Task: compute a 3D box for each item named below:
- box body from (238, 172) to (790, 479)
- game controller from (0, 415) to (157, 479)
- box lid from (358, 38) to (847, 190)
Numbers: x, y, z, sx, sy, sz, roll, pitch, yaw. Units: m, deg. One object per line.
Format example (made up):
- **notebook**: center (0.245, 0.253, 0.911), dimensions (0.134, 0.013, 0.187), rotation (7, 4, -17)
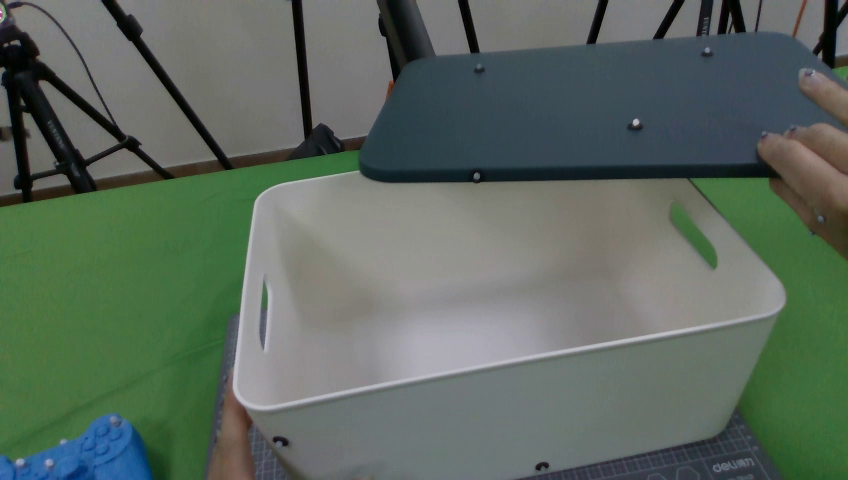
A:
- **box body**: center (0.055, 0.058, 0.515), dimensions (0.364, 0.162, 0.251), rotation (-10, 39, -3)
- **game controller**: center (-0.302, 0.203, 0.495), dimensions (0.155, 0.052, 0.096), rotation (-19, 36, -14)
- **box lid**: center (0.144, -0.112, 0.498), dimensions (0.371, 0.015, 0.261), rotation (-2, 33, 9)
